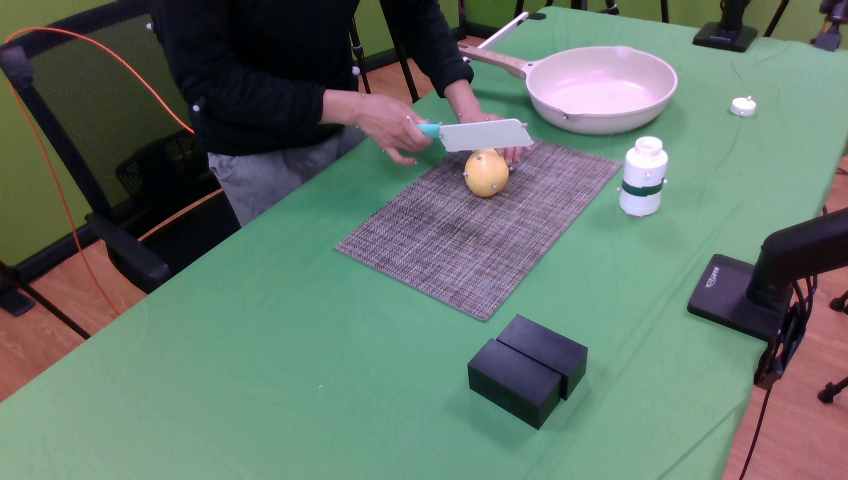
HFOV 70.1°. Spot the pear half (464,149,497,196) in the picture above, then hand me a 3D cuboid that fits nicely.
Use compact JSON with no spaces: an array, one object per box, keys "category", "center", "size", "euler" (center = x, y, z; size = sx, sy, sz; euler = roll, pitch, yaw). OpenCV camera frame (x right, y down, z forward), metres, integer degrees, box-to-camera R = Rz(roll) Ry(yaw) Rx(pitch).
[{"category":"pear half","center":[0.090,-0.110,1.025],"size":[0.070,0.088,0.031],"euler":[29,52,30]}]

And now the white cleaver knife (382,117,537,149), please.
[{"category":"white cleaver knife","center":[0.047,-0.169,0.990],"size":[0.284,0.066,0.021],"euler":[5,56,36]}]

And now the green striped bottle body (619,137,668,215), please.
[{"category":"green striped bottle body","center":[0.350,-0.103,0.963],"size":[0.063,0.120,0.063],"euler":[-4,41,4]}]

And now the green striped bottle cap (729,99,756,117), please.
[{"category":"green striped bottle cap","center":[0.623,-0.259,1.182],"size":[0.044,0.020,0.044],"euler":[-3,40,3]}]

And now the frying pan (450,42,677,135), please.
[{"category":"frying pan","center":[0.268,-0.344,1.266],"size":[0.485,0.103,0.307],"euler":[25,49,21]}]

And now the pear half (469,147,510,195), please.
[{"category":"pear half","center":[0.114,-0.136,1.037],"size":[0.076,0.110,0.056],"euler":[29,52,30]}]
